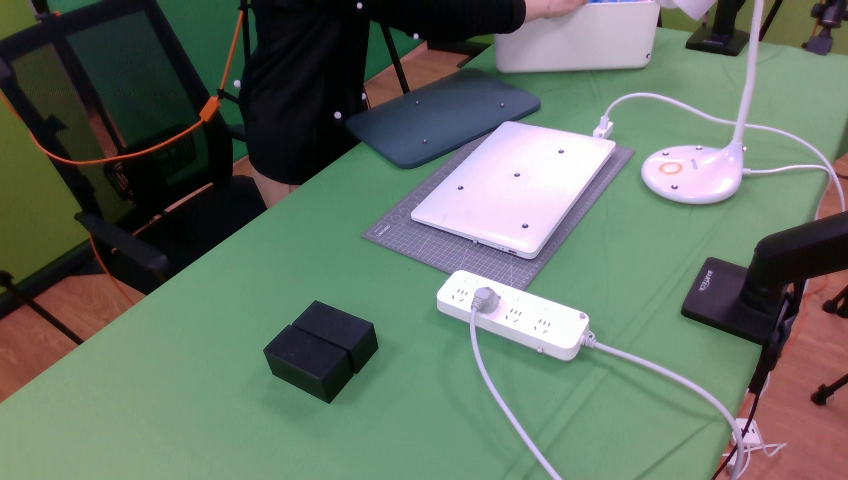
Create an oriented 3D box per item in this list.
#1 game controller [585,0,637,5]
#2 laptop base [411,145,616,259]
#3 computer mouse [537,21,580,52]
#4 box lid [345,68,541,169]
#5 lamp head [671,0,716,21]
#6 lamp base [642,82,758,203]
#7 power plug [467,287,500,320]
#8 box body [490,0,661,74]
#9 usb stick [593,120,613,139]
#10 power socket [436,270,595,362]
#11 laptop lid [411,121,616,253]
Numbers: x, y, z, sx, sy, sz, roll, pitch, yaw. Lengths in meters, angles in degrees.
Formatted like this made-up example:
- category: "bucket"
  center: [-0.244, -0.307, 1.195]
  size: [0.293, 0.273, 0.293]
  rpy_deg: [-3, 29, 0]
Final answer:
- category: "game controller"
  center: [0.426, -0.548, 1.425]
  size: [0.155, 0.052, 0.096]
  rpy_deg: [-16, 45, -11]
- category: "laptop base"
  center: [0.168, -0.102, 1.073]
  size: [0.234, 0.023, 0.355]
  rpy_deg: [17, 46, 31]
- category: "computer mouse"
  center: [0.334, -0.503, 1.488]
  size: [0.118, 0.041, 0.062]
  rpy_deg: [21, 21, -27]
- category: "box lid"
  center: [0.041, -0.272, 1.300]
  size: [0.373, 0.015, 0.261]
  rpy_deg: [-28, 44, -23]
- category: "lamp head"
  center: [0.375, -0.373, 0.807]
  size: [0.122, 0.113, 0.112]
  rpy_deg: [-40, 27, 32]
- category: "lamp base"
  center: [0.464, -0.174, 0.992]
  size: [0.179, 0.181, 0.159]
  rpy_deg: [-5, 41, -2]
- category: "power plug"
  center: [0.073, 0.092, 0.814]
  size: [0.035, 0.053, 0.073]
  rpy_deg: [29, 54, 34]
- category: "box body"
  center: [0.346, -0.520, 1.429]
  size: [0.363, 0.161, 0.253]
  rpy_deg: [1, 41, 9]
- category: "usb stick"
  center: [0.336, -0.201, 1.147]
  size: [0.021, 0.027, 0.059]
  rpy_deg: [26, 53, 27]
- category: "power socket"
  center: [0.118, 0.101, 0.832]
  size: [0.225, 0.033, 0.072]
  rpy_deg: [19, 48, 27]
- category: "laptop lid"
  center: [0.165, -0.111, 1.067]
  size: [0.240, 0.013, 0.357]
  rpy_deg: [19, 46, 31]
